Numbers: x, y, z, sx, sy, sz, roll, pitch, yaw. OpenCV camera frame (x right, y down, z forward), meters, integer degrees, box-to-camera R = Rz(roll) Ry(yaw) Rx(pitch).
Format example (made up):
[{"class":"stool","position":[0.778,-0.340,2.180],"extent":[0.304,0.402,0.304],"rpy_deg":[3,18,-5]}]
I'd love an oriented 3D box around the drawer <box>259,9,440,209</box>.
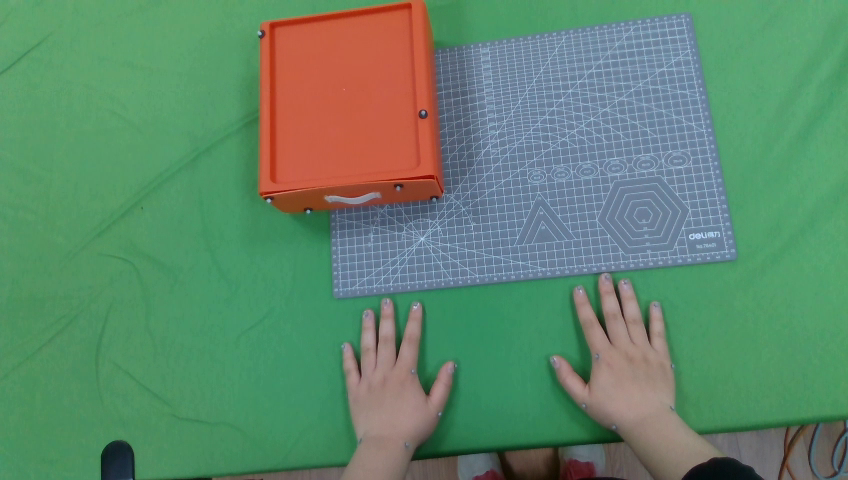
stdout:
[{"class":"drawer","position":[-0.088,-0.149,0.705],"extent":[0.194,0.073,0.210],"rpy_deg":[-6,77,8]}]

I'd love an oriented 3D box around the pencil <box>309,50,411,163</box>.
[{"class":"pencil","position":[-0.077,-0.163,0.732],"extent":[0.012,0.012,0.193],"rpy_deg":[-41,78,-1]}]

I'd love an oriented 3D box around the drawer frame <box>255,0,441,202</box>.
[{"class":"drawer frame","position":[-0.090,-0.154,0.705],"extent":[0.201,0.083,0.212],"rpy_deg":[-6,77,8]}]
